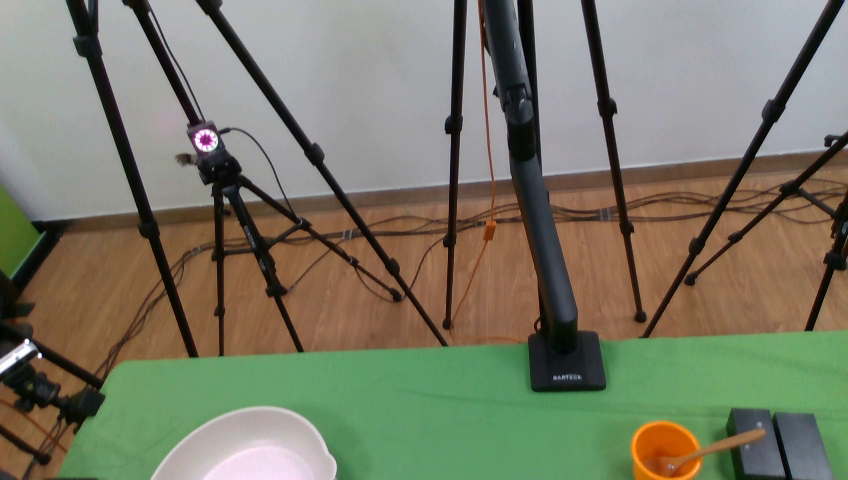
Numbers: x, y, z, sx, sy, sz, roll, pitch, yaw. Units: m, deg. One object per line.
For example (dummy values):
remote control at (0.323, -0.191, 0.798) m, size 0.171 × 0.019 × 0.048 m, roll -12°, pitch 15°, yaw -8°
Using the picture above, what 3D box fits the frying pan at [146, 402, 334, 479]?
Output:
frying pan at (-0.259, 0.442, 0.820) m, size 0.307 × 0.104 × 0.482 m, roll -15°, pitch 35°, yaw -1°

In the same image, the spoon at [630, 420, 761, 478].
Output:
spoon at (0.358, 0.278, 0.810) m, size 0.022 × 0.194 × 0.041 m, roll 27°, pitch 44°, yaw -22°
